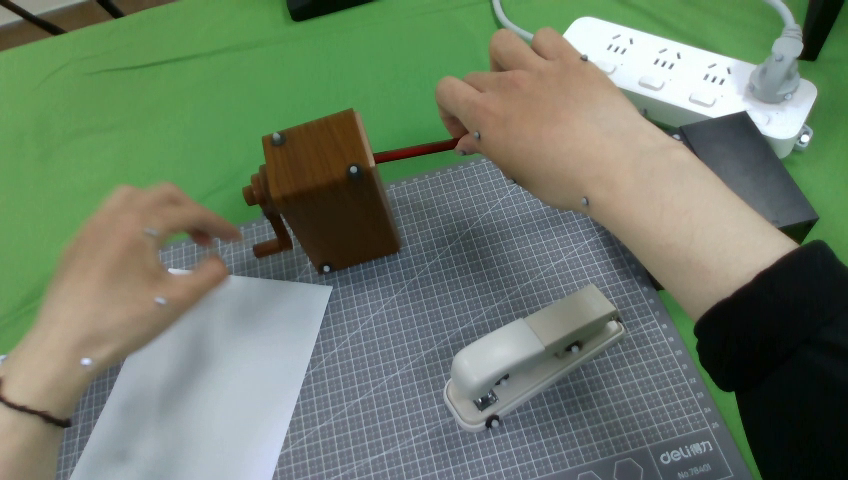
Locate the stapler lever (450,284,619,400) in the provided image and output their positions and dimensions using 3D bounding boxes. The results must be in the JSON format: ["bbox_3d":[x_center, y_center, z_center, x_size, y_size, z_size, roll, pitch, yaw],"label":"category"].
[{"bbox_3d":[0.070,0.062,0.382,0.118,0.040,0.026,-29,58,-11],"label":"stapler lever"}]

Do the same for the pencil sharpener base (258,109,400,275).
[{"bbox_3d":[-0.067,-0.030,0.443,0.077,0.108,0.060,-18,57,-1],"label":"pencil sharpener base"}]

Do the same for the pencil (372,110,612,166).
[{"bbox_3d":[0.036,-0.069,0.422,0.194,0.012,0.012,-11,56,-3],"label":"pencil"}]

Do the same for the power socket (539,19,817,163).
[{"bbox_3d":[0.208,-0.130,0.509,0.225,0.033,0.072,27,65,24],"label":"power socket"}]

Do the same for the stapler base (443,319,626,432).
[{"bbox_3d":[0.073,0.077,0.402,0.130,0.024,0.041,-29,58,-11],"label":"stapler base"}]

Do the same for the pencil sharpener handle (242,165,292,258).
[{"bbox_3d":[-0.116,-0.017,0.427,0.030,0.068,0.035,-18,34,-1],"label":"pencil sharpener handle"}]

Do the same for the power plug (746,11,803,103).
[{"bbox_3d":[0.281,-0.134,0.471,0.035,0.053,0.072,37,71,28],"label":"power plug"}]
